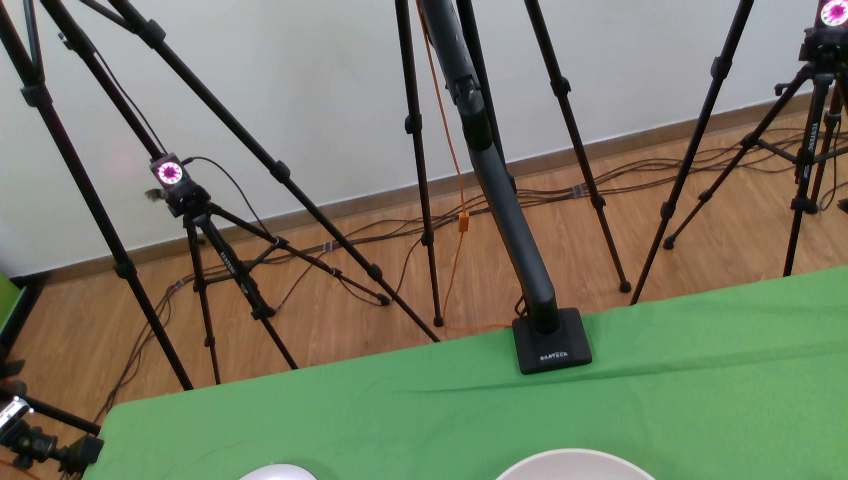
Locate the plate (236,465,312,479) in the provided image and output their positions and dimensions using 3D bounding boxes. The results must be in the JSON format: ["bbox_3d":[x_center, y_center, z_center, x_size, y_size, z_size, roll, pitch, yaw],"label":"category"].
[{"bbox_3d":[-0.241,0.446,0.912,0.207,0.039,0.205,-10,44,10],"label":"plate"}]

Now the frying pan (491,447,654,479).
[{"bbox_3d":[0.122,0.466,0.705,0.304,0.104,0.487,23,49,38],"label":"frying pan"}]
